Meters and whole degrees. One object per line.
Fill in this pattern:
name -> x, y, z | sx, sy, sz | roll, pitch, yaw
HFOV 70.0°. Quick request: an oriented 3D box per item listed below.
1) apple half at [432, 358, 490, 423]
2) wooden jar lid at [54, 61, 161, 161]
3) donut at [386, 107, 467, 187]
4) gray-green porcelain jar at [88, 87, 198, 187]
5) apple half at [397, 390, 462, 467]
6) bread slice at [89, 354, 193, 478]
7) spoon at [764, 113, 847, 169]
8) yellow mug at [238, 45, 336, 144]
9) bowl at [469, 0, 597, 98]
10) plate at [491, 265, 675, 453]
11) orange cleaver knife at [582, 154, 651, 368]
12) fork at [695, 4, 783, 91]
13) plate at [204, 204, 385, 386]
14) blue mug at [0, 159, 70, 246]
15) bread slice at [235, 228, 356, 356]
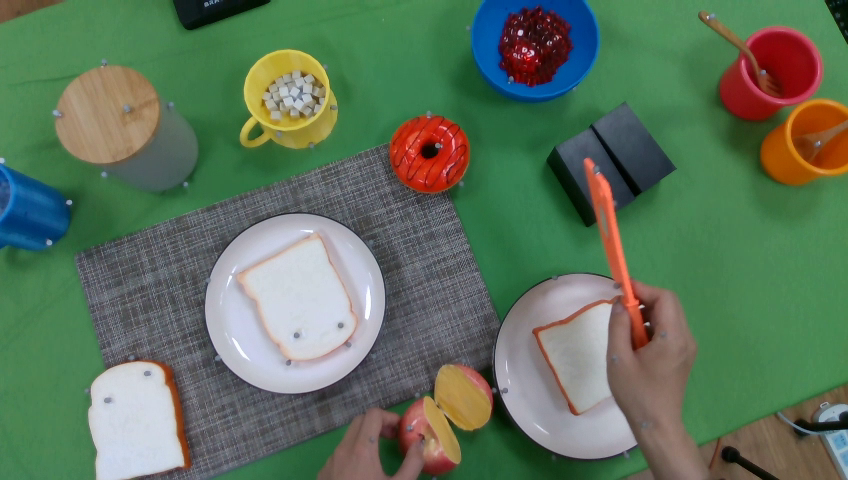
apple half -> 0.046, 0.168, 0.690 | 0.033, 0.081, 0.081 | -27, 79, -43
wooden jar lid -> -0.326, -0.133, 0.631 | 0.108, 0.021, 0.108 | 0, 79, 1
donut -> 0.004, -0.112, 0.731 | 0.099, 0.048, 0.098 | 0, 82, 0
gray-green porcelain jar -> -0.326, -0.121, 0.692 | 0.106, 0.127, 0.105 | 0, 80, 0
apple half -> 0.000, 0.212, 0.668 | 0.053, 0.075, 0.080 | -33, 80, 9
bread slice -> -0.330, 0.198, 0.692 | 0.105, 0.019, 0.131 | -13, 82, -3
spoon -> 0.487, -0.142, 0.690 | 0.022, 0.194, 0.041 | -17, 75, -49
yellow mug -> -0.172, -0.163, 0.731 | 0.131, 0.064, 0.099 | -44, 84, -6
bowl -> 0.126, -0.235, 0.738 | 0.151, 0.077, 0.151 | 0, 81, 0
plate -> 0.180, 0.135, 0.699 | 0.209, 0.038, 0.208 | 0, 81, 0
orange cleaver knife -> 0.184, 0.021, 0.581 | 0.012, 0.077, 0.212 | -17, 106, 7
fork -> 0.370, -0.221, 0.702 | 0.209, 0.018, 0.028 | 19, 77, -39
plate -> -0.147, 0.063, 0.705 | 0.208, 0.039, 0.207 | 0, 81, 0
blue mug -> -0.485, -0.031, 0.686 | 0.082, 0.106, 0.116 | 43, 83, 7
bread slice -> -0.140, 0.066, 0.705 | 0.107, 0.018, 0.134 | -32, 82, -5
